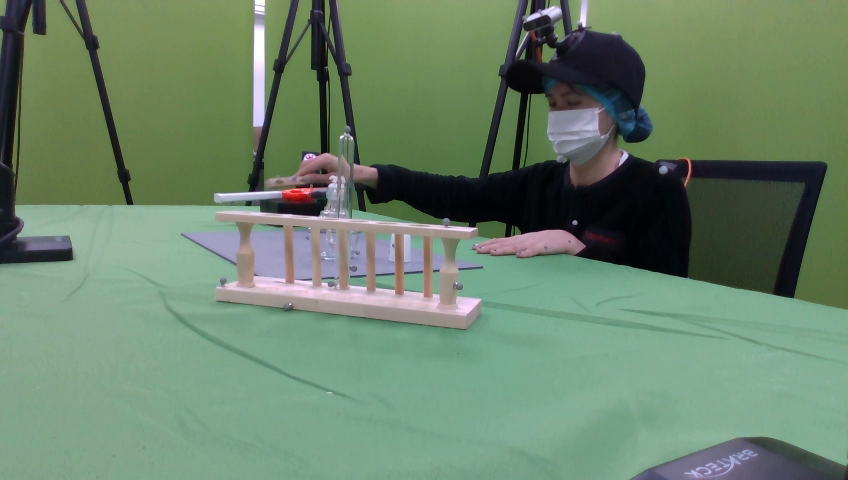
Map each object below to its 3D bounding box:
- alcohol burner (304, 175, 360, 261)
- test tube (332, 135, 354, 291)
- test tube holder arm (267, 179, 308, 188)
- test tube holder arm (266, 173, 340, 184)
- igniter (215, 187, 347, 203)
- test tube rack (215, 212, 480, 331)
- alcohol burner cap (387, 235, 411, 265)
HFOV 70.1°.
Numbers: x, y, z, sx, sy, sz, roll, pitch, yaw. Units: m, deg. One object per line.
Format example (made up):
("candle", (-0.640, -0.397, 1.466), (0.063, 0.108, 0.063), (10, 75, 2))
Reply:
("alcohol burner", (-0.126, -0.031, 0.838), (0.078, 0.119, 0.078), (3, 5, 0))
("test tube", (-0.078, -0.025, 0.581), (0.017, 0.150, 0.017), (3, 7, 0))
("test tube holder arm", (-0.263, -0.110, 1.168), (0.015, 0.010, 0.088), (-13, 1, 41))
("test tube holder arm", (-0.236, -0.123, 1.203), (0.015, 0.013, 0.179), (-13, 1, 41))
("igniter", (-0.293, -0.094, 1.267), (0.278, 0.025, 0.057), (-6, 11, -33))
("test tube rack", (-0.071, 0.023, 0.565), (0.242, 0.085, 0.067), (5, 7, 16))
("alcohol burner cap", (-0.035, 0.009, 0.839), (0.034, 0.048, 0.034), (2, 6, 0))
